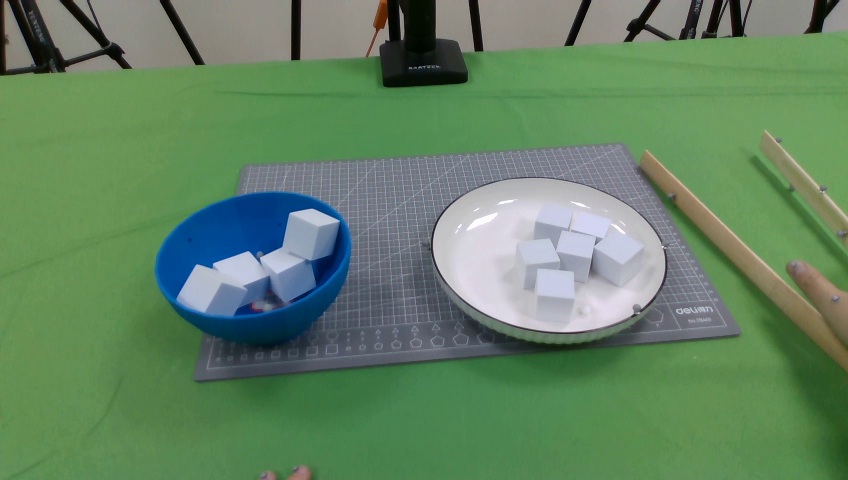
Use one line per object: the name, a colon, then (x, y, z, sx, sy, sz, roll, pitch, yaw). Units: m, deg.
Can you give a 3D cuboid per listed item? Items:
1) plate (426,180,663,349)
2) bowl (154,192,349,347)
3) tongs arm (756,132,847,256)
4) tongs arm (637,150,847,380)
plate: (0.106, 0.020, 0.549, 0.208, 0.039, 0.205, 0, 41, 0)
bowl: (-0.134, 0.035, 0.502, 0.151, 0.077, 0.150, 0, 41, 0)
tongs arm: (0.385, 0.015, 0.560, 0.051, 0.027, 0.380, -5, 43, -4)
tongs arm: (0.307, 0.028, 0.552, 0.028, 0.028, 0.383, -11, 43, -15)
